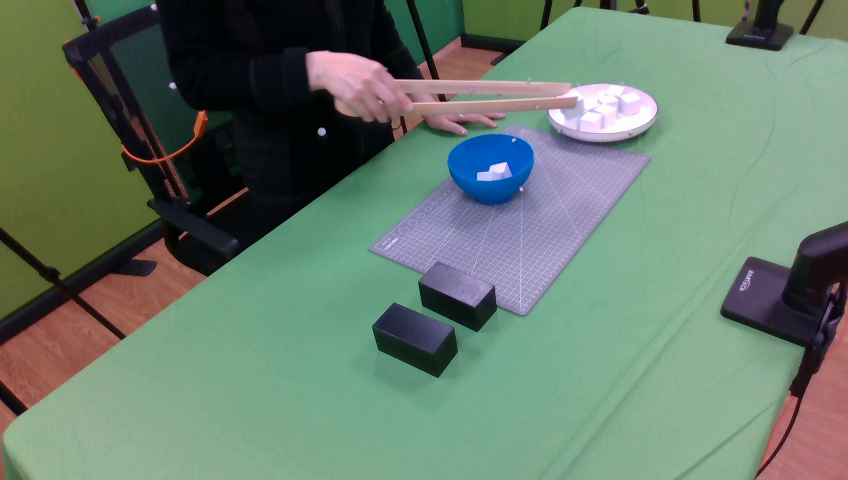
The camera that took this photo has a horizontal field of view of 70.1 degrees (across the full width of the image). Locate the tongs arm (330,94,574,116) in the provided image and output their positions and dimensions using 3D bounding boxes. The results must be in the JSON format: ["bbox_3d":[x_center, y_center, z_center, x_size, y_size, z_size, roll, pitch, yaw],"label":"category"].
[{"bbox_3d":[0.049,-0.213,0.954,0.389,0.028,0.028,-2,59,-8],"label":"tongs arm"}]

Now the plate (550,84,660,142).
[{"bbox_3d":[0.355,-0.247,1.195,0.207,0.039,0.206,-5,39,5],"label":"plate"}]

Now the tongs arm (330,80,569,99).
[{"bbox_3d":[0.046,-0.232,0.968,0.386,0.026,0.050,1,55,-6],"label":"tongs arm"}]

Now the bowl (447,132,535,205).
[{"bbox_3d":[0.119,-0.114,1.051,0.151,0.077,0.150,-6,40,5],"label":"bowl"}]
